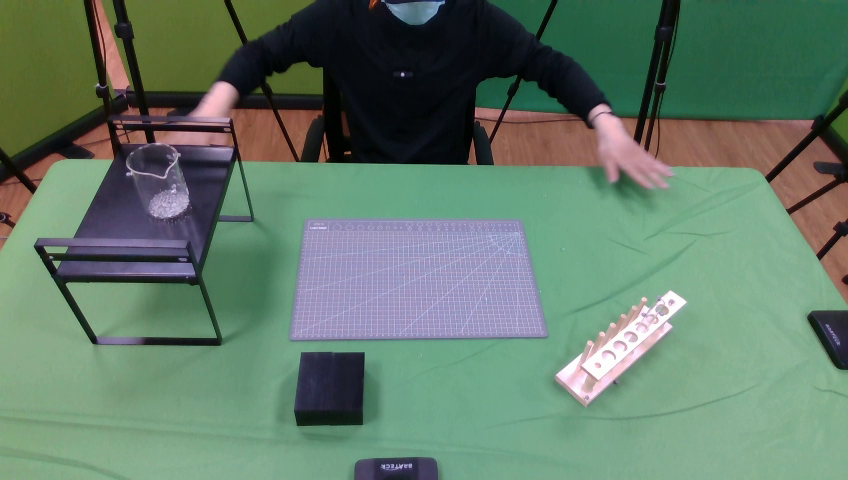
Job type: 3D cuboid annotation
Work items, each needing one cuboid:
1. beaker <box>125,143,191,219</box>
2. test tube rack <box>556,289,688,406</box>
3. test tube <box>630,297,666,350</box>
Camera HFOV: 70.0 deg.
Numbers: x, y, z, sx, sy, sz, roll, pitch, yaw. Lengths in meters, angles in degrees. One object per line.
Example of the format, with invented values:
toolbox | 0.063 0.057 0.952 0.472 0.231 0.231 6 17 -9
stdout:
beaker | -0.409 -0.088 0.946 0.074 0.101 0.083 -28 54 -26
test tube rack | 0.332 0.166 1.014 0.242 0.085 0.066 -30 55 -28
test tube | 0.354 0.137 0.973 0.017 0.151 0.017 2 52 -2
